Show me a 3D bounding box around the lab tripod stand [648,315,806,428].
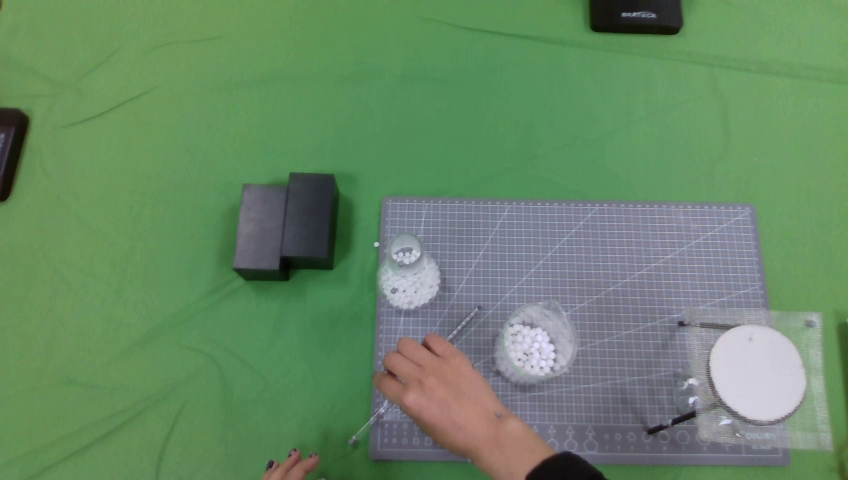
[{"bbox_3d":[0.298,0.138,0.605,0.148,0.132,0.147,0,74,0],"label":"lab tripod stand"}]

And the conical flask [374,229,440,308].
[{"bbox_3d":[-0.020,0.024,0.643,0.075,0.122,0.075,0,72,0],"label":"conical flask"}]

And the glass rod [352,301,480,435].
[{"bbox_3d":[-0.006,0.138,0.667,0.008,0.008,0.199,43,77,12],"label":"glass rod"}]

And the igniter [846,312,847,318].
[{"bbox_3d":[0.481,0.211,0.643,0.057,0.025,0.275,9,73,-9],"label":"igniter"}]

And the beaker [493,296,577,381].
[{"bbox_3d":[0.112,0.106,0.631,0.074,0.101,0.083,24,73,7],"label":"beaker"}]

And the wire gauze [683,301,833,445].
[{"bbox_3d":[0.299,0.116,0.542,0.125,0.011,0.121,4,74,1],"label":"wire gauze"}]

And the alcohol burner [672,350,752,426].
[{"bbox_3d":[0.299,0.148,0.613,0.078,0.120,0.077,-1,73,2],"label":"alcohol burner"}]

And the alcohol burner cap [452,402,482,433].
[{"bbox_3d":[0.046,0.186,0.636,0.034,0.048,0.033,0,74,1],"label":"alcohol burner cap"}]
